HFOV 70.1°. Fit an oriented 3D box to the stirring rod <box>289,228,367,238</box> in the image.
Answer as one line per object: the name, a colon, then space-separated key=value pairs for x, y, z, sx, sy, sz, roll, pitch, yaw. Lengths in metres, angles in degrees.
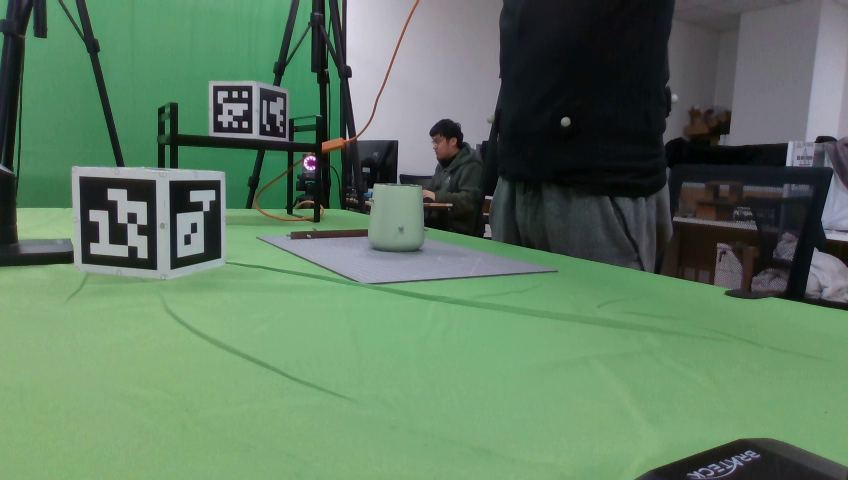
stirring rod: x=-0.161 y=-0.013 z=1.093 sx=0.177 sy=0.014 sz=0.006 roll=-3 pitch=3 yaw=-36

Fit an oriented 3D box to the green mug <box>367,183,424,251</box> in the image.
green mug: x=-0.054 y=-0.040 z=0.989 sx=0.093 sy=0.105 sz=0.124 roll=-2 pitch=8 yaw=-29
